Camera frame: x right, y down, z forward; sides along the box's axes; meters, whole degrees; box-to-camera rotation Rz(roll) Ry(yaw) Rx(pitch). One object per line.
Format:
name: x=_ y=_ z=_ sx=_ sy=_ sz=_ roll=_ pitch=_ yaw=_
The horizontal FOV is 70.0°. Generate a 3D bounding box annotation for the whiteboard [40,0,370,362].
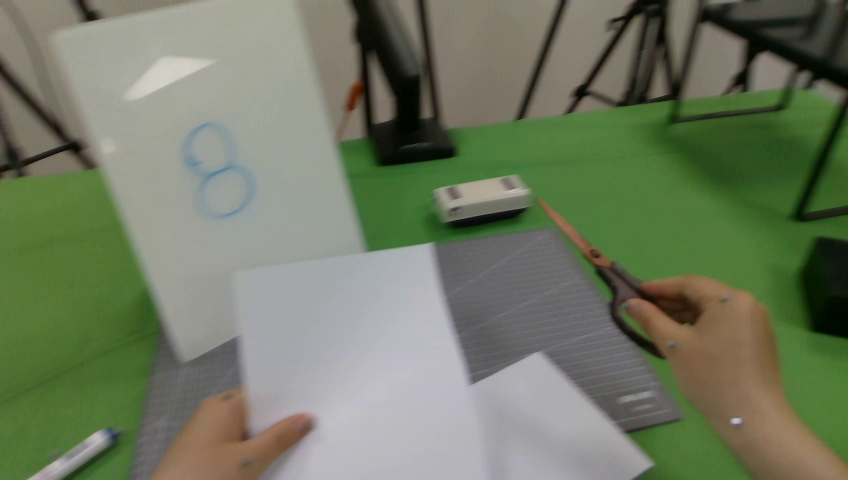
whiteboard: x=-0.220 y=-0.074 z=0.628 sx=0.217 sy=0.307 sz=0.142 roll=-28 pitch=23 yaw=-32

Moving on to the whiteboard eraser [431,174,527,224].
whiteboard eraser: x=0.069 y=-0.050 z=0.765 sx=0.113 sy=0.042 sz=0.055 roll=-10 pitch=38 yaw=-14

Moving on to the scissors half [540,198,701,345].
scissors half: x=0.153 y=0.019 z=0.491 sx=0.040 sy=0.013 sz=0.173 roll=-11 pitch=47 yaw=-43

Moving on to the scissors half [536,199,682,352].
scissors half: x=0.137 y=0.021 z=0.480 sx=0.040 sy=0.013 sz=0.173 roll=-3 pitch=43 yaw=-30

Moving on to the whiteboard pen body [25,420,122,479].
whiteboard pen body: x=-0.294 y=0.185 z=0.455 sx=0.017 sy=0.017 sz=0.140 roll=23 pitch=41 yaw=29
